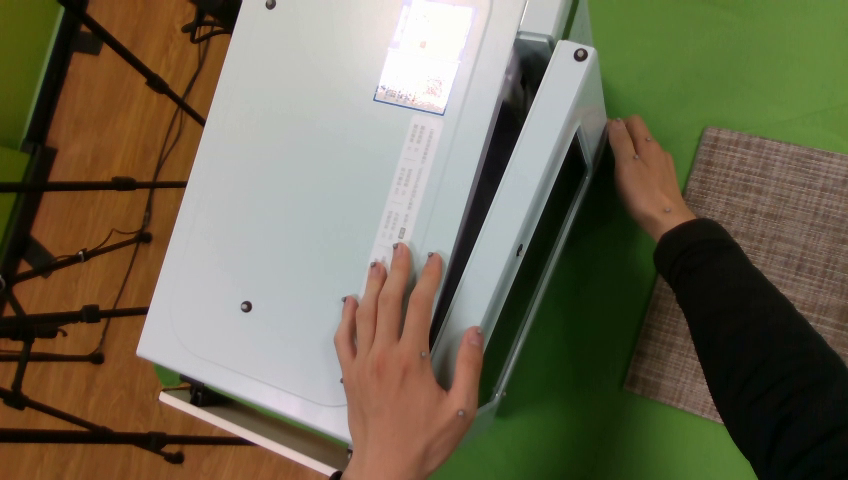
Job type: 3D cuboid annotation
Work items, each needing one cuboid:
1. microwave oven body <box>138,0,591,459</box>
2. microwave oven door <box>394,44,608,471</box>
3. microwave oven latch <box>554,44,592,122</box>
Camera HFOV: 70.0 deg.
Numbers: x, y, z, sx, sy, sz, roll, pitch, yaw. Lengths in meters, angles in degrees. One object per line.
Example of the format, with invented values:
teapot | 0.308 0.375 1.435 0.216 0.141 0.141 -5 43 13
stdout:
microwave oven body | -0.048 -0.056 0.639 0.324 0.261 0.441 16 89 19
microwave oven door | 0.087 0.027 0.579 0.039 0.245 0.355 22 91 20
microwave oven latch | 0.168 -0.176 0.683 0.030 0.029 0.079 17 90 19
